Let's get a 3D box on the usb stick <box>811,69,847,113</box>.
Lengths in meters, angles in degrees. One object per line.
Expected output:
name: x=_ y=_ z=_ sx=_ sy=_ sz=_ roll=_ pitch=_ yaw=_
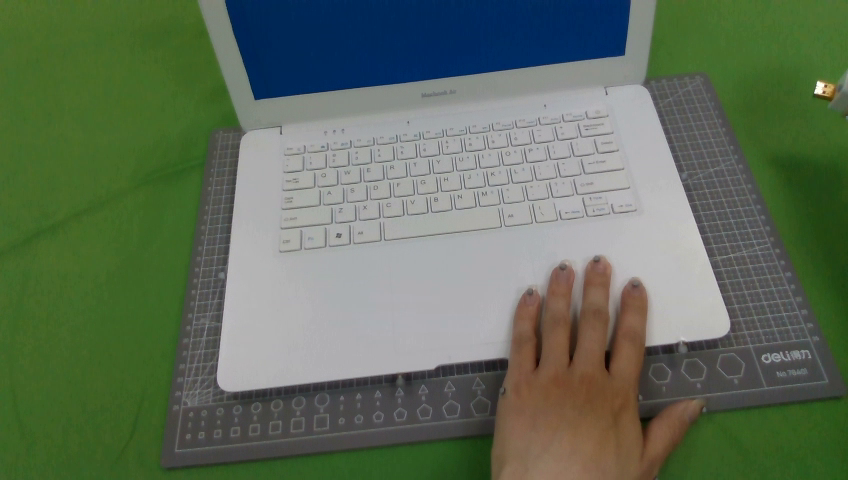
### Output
usb stick: x=0.320 y=-0.108 z=0.445 sx=0.059 sy=0.027 sz=0.021 roll=14 pitch=71 yaw=20

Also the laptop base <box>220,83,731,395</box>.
laptop base: x=0.025 y=-0.011 z=0.473 sx=0.354 sy=0.023 sz=0.233 roll=-7 pitch=62 yaw=1

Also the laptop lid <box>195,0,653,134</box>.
laptop lid: x=0.002 y=-0.199 z=0.457 sx=0.357 sy=0.244 sz=0.013 roll=-8 pitch=40 yaw=2
